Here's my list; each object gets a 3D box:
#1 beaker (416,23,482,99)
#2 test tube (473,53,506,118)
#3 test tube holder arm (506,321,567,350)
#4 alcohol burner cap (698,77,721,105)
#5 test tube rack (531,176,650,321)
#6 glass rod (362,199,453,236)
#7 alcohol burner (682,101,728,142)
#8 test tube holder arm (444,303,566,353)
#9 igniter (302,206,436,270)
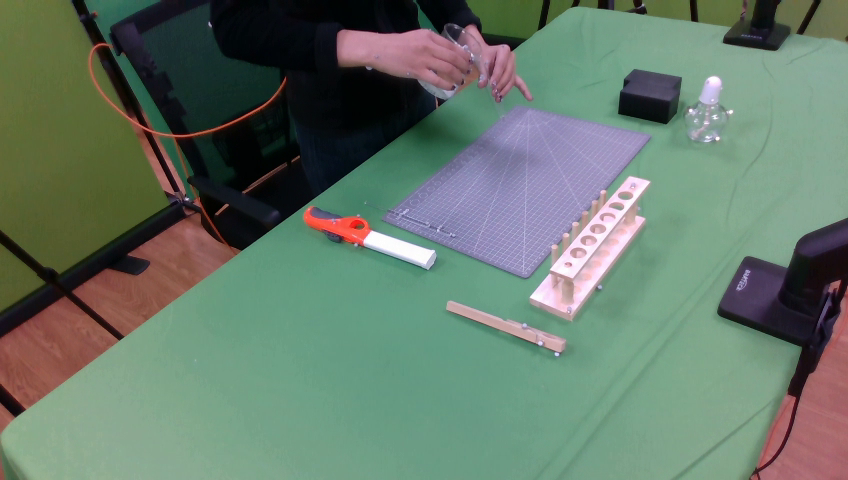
[{"bbox_3d":[0.040,-0.292,1.001,0.073,0.085,0.100,30,87,47],"label":"beaker"},{"bbox_3d":[0.120,-0.273,1.086,0.017,0.151,0.017,-14,51,19],"label":"test tube"},{"bbox_3d":[0.148,0.128,0.808,0.087,0.015,0.010,16,10,28],"label":"test tube holder arm"},{"bbox_3d":[0.509,-0.266,1.072,0.034,0.048,0.033,-4,49,5],"label":"alcohol burner cap"},{"bbox_3d":[0.246,0.002,0.884,0.066,0.085,0.243,22,49,32],"label":"test tube rack"},{"bbox_3d":[-0.032,-0.041,1.041,0.198,0.008,0.008,22,50,31],"label":"glass rod"},{"bbox_3d":[0.513,-0.239,1.097,0.078,0.119,0.077,-4,40,4],"label":"alcohol burner"},{"bbox_3d":[0.106,0.117,0.823,0.177,0.015,0.013,16,10,27],"label":"test tube holder arm"},{"bbox_3d":[-0.101,-0.007,1.005,0.274,0.025,0.057,19,58,29],"label":"igniter"}]
